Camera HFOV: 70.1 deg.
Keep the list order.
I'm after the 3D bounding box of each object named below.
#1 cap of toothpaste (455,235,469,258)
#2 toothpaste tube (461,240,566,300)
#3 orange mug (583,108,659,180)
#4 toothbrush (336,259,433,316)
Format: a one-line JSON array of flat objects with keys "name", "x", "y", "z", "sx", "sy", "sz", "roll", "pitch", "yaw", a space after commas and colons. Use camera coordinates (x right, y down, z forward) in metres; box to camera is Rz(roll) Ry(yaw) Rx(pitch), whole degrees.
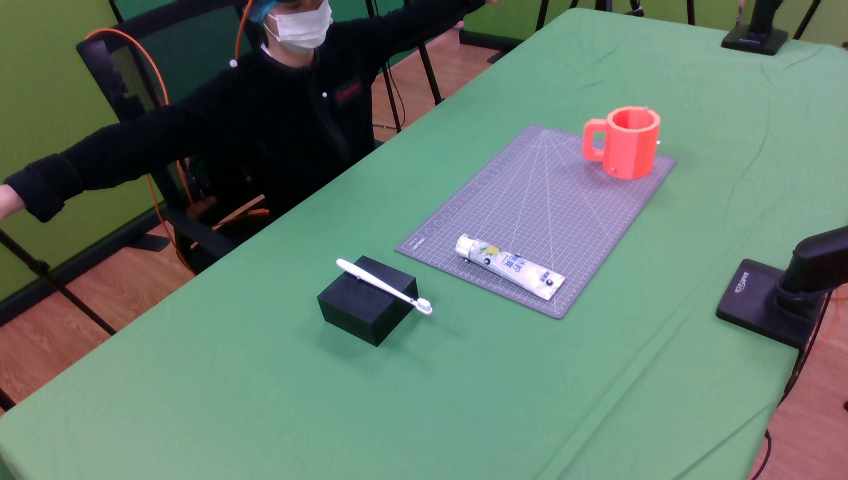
[{"name": "cap of toothpaste", "x": 0.062, "y": 0.010, "z": 0.936, "sx": 0.011, "sy": 0.037, "sz": 0.037, "roll": 23, "pitch": 49, "yaw": 27}, {"name": "toothpaste tube", "x": 0.125, "y": 0.040, "z": 0.900, "sx": 0.164, "sy": 0.035, "sz": 0.055, "roll": 23, "pitch": 55, "yaw": 27}, {"name": "orange mug", "x": 0.343, "y": -0.171, "z": 1.061, "sx": 0.126, "sy": 0.101, "sz": 0.083, "roll": 10, "pitch": 43, "yaw": 15}, {"name": "toothbrush", "x": -0.059, "y": 0.062, "z": 0.839, "sx": 0.180, "sy": 0.017, "sz": 0.014, "roll": 24, "pitch": 54, "yaw": 33}]
